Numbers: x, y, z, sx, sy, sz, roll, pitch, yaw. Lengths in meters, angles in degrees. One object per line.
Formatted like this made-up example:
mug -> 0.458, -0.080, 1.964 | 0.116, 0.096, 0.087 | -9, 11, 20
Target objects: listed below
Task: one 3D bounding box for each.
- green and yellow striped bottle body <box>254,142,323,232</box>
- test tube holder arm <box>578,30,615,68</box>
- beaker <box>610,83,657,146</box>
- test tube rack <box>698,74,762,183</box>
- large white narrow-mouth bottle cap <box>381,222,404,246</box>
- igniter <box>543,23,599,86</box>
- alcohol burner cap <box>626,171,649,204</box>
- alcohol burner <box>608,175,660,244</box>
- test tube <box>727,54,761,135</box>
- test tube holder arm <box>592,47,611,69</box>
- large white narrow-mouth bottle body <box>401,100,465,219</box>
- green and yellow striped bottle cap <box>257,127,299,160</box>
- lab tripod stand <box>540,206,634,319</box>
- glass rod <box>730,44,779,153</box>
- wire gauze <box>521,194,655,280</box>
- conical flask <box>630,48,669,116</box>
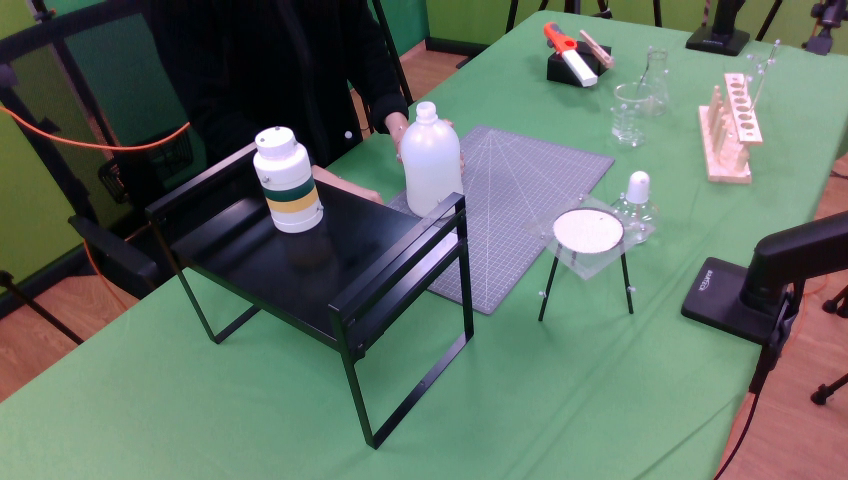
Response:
green and yellow striped bottle body -> -0.165, -0.073, 0.732 | 0.063, 0.120, 0.063 | -4, 41, 4
test tube holder arm -> 0.383, -0.428, 1.351 | 0.013, 0.015, 0.177 | -11, 41, -3
beaker -> 0.388, -0.235, 1.138 | 0.074, 0.101, 0.083 | -31, 46, -25
test tube rack -> 0.547, -0.208, 1.095 | 0.066, 0.085, 0.242 | 5, 42, 15
large white narrow-mouth bottle cap -> -0.052, -0.010, 0.994 | 0.038, 0.024, 0.037 | -5, 39, 4
igniter -> 0.320, -0.419, 1.344 | 0.057, 0.025, 0.274 | -12, 44, -3
alcohol burner cap -> 0.320, -0.081, 0.900 | 0.034, 0.048, 0.033 | -4, 42, 4
alcohol burner -> 0.322, -0.053, 0.924 | 0.078, 0.119, 0.077 | -4, 43, 4
test tube -> 0.564, -0.254, 1.069 | 0.017, 0.151, 0.017 | -1, 40, 1
test tube holder arm -> 0.385, -0.398, 1.317 | 0.010, 0.015, 0.087 | -11, 41, -2
large white narrow-mouth bottle body -> 0.013, -0.136, 0.999 | 0.102, 0.195, 0.101 | -5, 39, 5
green and yellow striped bottle cap -> -0.169, -0.112, 0.698 | 0.045, 0.020, 0.045 | -5, 40, 5
lab tripod stand -> 0.218, 0.034, 0.821 | 0.148, 0.132, 0.147 | -4, 42, 4
glass rod -> 0.555, -0.234, 1.021 | 0.008, 0.200, 0.008 | 2, 40, -1
wire gauze -> 0.207, -0.012, 0.772 | 0.122, 0.011, 0.124 | -28, 44, -20
conical flask -> 0.457, -0.317, 1.205 | 0.075, 0.122, 0.075 | -4, 41, 4
